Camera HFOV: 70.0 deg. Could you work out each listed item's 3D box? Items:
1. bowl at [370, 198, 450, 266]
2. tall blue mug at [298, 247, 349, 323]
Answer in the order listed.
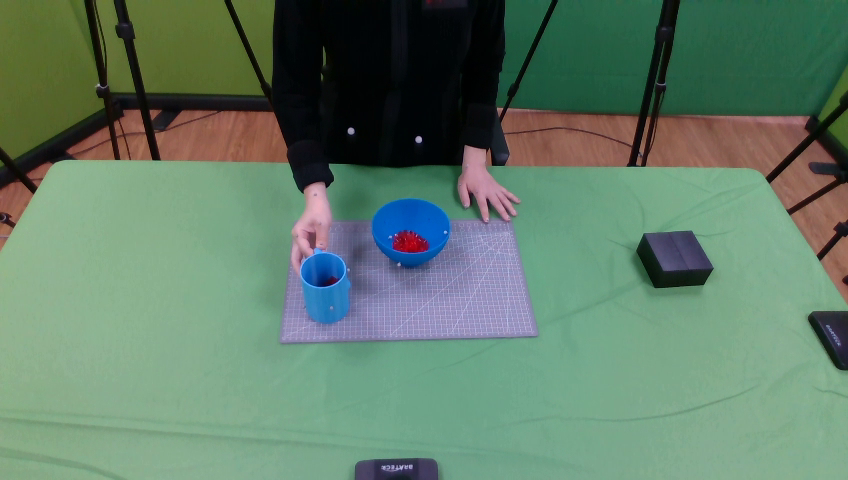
[{"bbox_3d":[-0.028,-0.003,1.155,0.151,0.077,0.150,2,46,-2],"label":"bowl"},{"bbox_3d":[-0.181,0.073,1.044,0.078,0.108,0.106,-35,61,-28],"label":"tall blue mug"}]
